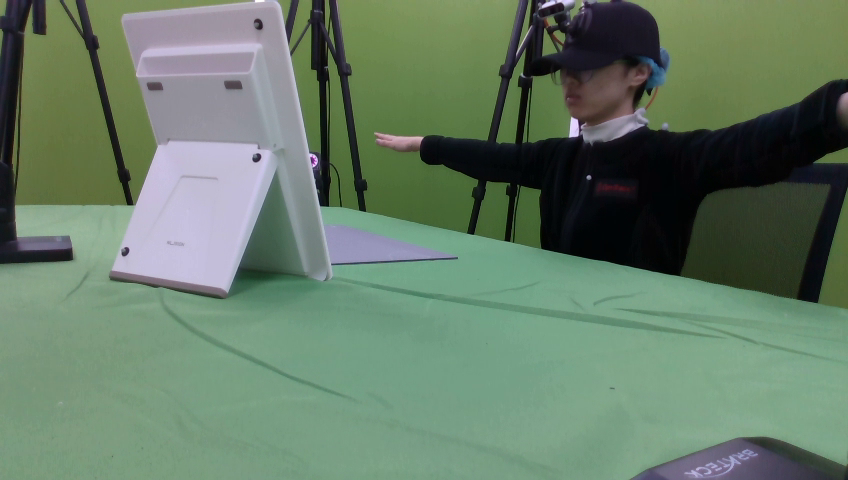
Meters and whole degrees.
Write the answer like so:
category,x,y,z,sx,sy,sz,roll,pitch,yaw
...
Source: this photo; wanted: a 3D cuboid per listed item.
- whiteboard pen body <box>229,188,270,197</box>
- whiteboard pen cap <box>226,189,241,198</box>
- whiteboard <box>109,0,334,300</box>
category,x,y,z,sx,sy,sz,roll,pitch,yaw
whiteboard pen body,-0.378,-0.103,1.313,0.017,0.017,0.141,4,8,18
whiteboard pen cap,-0.396,-0.096,1.258,0.018,0.018,0.033,4,5,17
whiteboard,-0.247,-0.072,0.624,0.216,0.305,0.144,6,28,26
